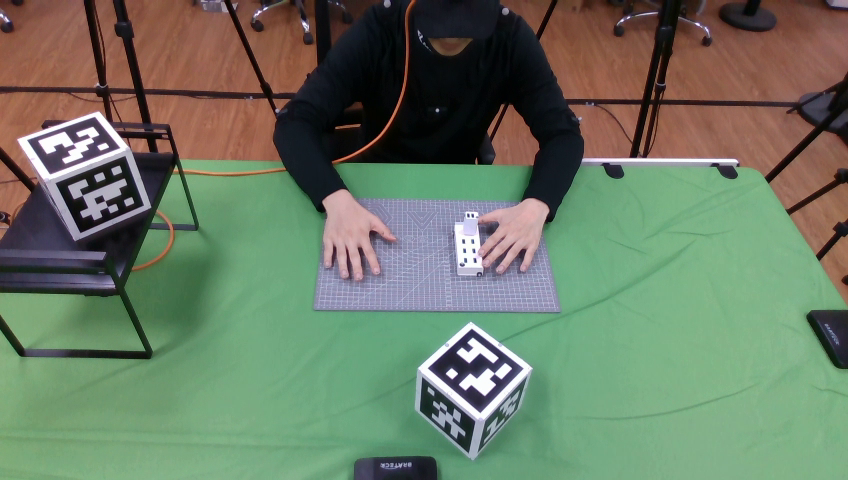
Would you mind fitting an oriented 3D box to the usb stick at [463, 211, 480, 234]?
[{"bbox_3d":[0.091,-0.029,1.179,0.027,0.059,0.021,-1,47,-3],"label":"usb stick"}]

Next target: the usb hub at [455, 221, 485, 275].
[{"bbox_3d":[0.088,0.014,1.178,0.049,0.025,0.124,0,46,-3],"label":"usb hub"}]
